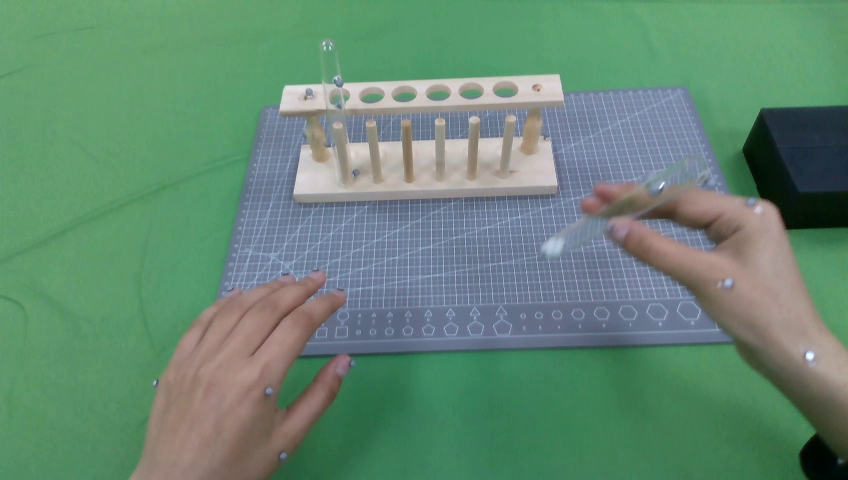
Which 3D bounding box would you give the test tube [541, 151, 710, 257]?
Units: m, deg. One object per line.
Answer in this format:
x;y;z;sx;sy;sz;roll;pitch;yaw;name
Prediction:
0.113;-0.016;0.367;0.017;0.150;0.017;6;71;-18;test tube

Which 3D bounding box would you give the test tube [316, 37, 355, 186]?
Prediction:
-0.072;-0.101;0.502;0.017;0.152;0.017;0;52;0;test tube

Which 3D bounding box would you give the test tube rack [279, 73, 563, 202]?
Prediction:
-0.001;-0.090;0.546;0.242;0.086;0.066;-2;53;2;test tube rack
